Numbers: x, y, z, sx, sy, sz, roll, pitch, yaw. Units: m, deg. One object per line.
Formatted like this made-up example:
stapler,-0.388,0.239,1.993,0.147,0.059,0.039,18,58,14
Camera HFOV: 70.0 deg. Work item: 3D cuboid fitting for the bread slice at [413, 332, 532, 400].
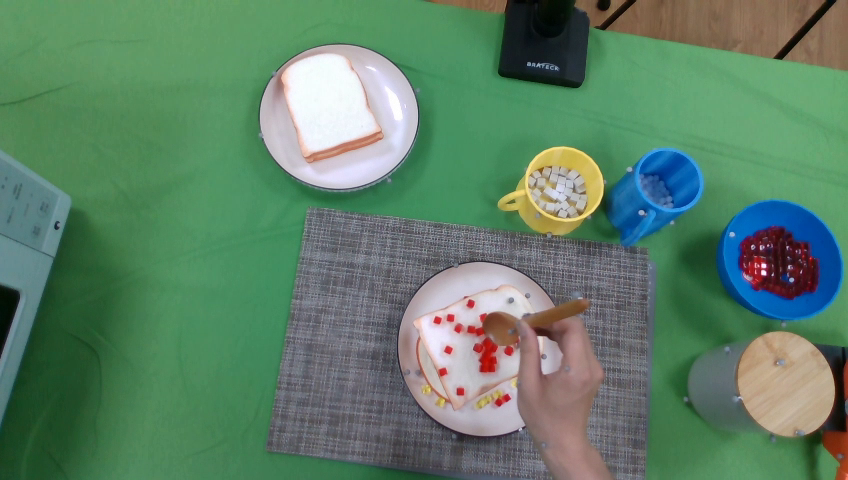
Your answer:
bread slice,0.055,0.134,0.736,0.131,0.019,0.104,-24,77,-13

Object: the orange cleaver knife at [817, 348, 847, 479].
orange cleaver knife,0.490,0.232,0.712,0.012,0.077,0.212,7,102,-1

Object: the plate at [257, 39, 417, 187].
plate,-0.113,-0.164,0.801,0.208,0.039,0.206,1,76,-3

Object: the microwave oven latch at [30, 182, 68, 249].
microwave oven latch,-0.455,-0.031,0.726,0.030,0.029,0.079,13,76,0

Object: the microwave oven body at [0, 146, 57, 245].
microwave oven body,-0.624,0.088,0.586,0.326,0.261,0.439,10,76,-1

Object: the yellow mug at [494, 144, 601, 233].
yellow mug,0.153,-0.061,0.776,0.131,0.064,0.099,-13,76,-5

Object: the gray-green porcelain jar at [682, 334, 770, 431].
gray-green porcelain jar,0.370,0.165,0.700,0.106,0.127,0.105,1,75,-3

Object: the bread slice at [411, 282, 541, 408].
bread slice,0.063,0.107,0.678,0.134,0.018,0.106,-27,82,-13

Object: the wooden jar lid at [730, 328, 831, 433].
wooden jar lid,0.373,0.148,0.640,0.108,0.021,0.108,1,78,-5

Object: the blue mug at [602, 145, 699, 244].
blue mug,0.274,-0.047,0.760,0.082,0.106,0.116,28,76,5

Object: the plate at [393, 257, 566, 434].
plate,0.066,0.126,0.733,0.209,0.038,0.208,1,76,-3

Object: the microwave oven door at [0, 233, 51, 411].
microwave oven door,-0.487,0.152,0.573,0.039,0.245,0.354,9,75,0

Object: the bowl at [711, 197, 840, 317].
bowl,0.425,0.028,0.763,0.151,0.077,0.150,1,76,-3

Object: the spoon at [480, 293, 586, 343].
spoon,0.100,0.076,0.583,0.021,0.194,0.041,-32,87,-21

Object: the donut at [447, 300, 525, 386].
donut,0.073,0.120,0.707,0.099,0.048,0.098,5,76,-21
